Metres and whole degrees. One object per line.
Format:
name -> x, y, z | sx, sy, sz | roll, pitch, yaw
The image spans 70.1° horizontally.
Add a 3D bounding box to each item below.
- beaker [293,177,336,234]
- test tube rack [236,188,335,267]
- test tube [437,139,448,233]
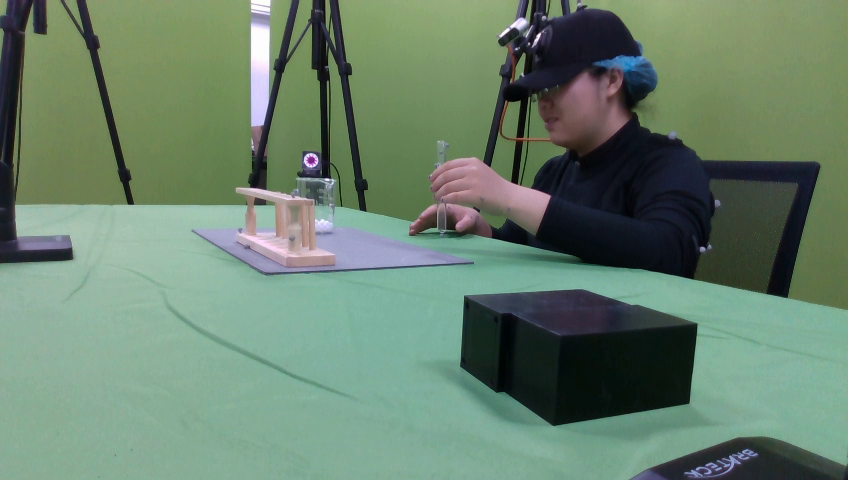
beaker -> -0.197, -0.063, 1.107 | 0.083, 0.100, 0.074 | 10, 11, 40
test tube rack -> -0.202, -0.024, 0.855 | 0.067, 0.085, 0.241 | -2, 9, -31
test tube -> 0.029, -0.087, 0.970 | 0.017, 0.150, 0.017 | 0, -2, 0
